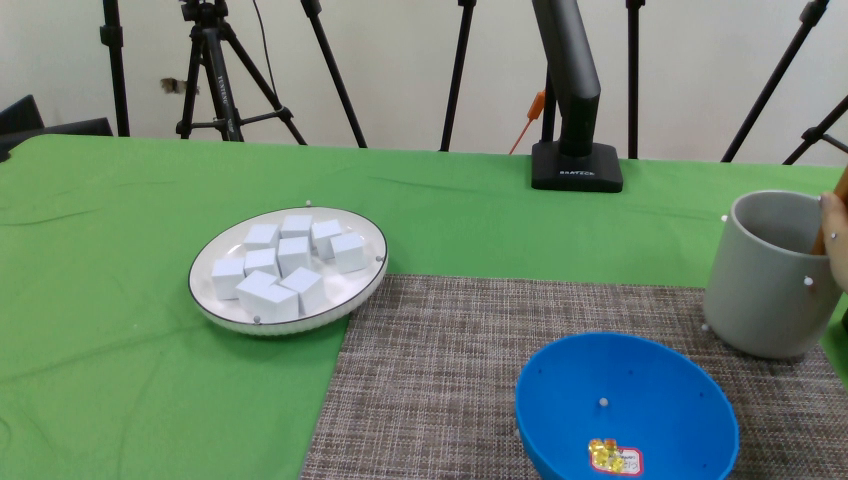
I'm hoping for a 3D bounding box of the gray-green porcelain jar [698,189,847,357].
[{"bbox_3d":[0.314,0.034,0.550,0.106,0.127,0.105,-1,36,1],"label":"gray-green porcelain jar"}]

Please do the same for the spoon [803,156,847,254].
[{"bbox_3d":[0.336,-0.011,0.507,0.021,0.196,0.041,-10,43,1],"label":"spoon"}]

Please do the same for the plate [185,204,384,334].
[{"bbox_3d":[-0.145,0.031,0.651,0.209,0.038,0.207,-2,36,2],"label":"plate"}]

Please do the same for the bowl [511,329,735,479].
[{"bbox_3d":[0.137,0.145,0.444,0.151,0.077,0.150,-1,36,1],"label":"bowl"}]
